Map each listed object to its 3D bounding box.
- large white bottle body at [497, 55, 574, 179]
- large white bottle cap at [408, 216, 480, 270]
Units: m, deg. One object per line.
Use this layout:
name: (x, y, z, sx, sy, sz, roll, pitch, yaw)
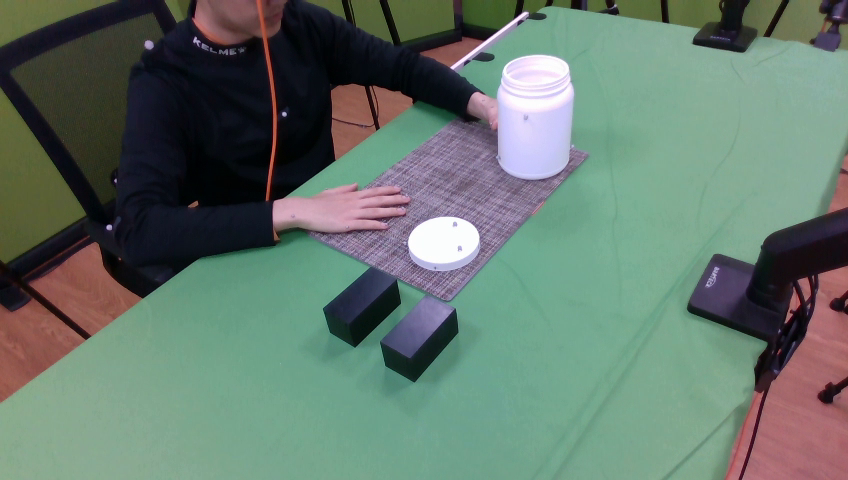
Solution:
large white bottle body: (0.194, -0.216, 1.060, 0.130, 0.185, 0.130, -4, 41, 4)
large white bottle cap: (0.031, 0.003, 0.957, 0.115, 0.018, 0.114, -4, 41, 4)
